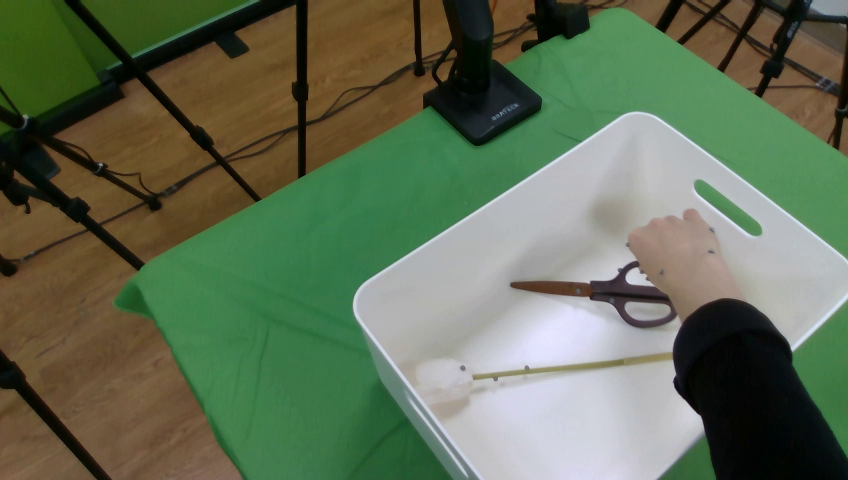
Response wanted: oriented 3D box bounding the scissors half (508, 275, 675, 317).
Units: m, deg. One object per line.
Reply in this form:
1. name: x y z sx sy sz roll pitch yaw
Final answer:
1. scissors half: 0.177 0.056 0.652 0.174 0.040 0.013 8 23 16

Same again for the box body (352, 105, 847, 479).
1. box body: 0.151 0.075 0.566 0.364 0.162 0.252 -34 63 -19

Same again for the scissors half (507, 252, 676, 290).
1. scissors half: 0.174 0.037 0.644 0.174 0.040 0.012 -7 23 22

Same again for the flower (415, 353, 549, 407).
1. flower: 0.156 0.115 0.644 0.363 0.044 0.038 -8 29 -28
